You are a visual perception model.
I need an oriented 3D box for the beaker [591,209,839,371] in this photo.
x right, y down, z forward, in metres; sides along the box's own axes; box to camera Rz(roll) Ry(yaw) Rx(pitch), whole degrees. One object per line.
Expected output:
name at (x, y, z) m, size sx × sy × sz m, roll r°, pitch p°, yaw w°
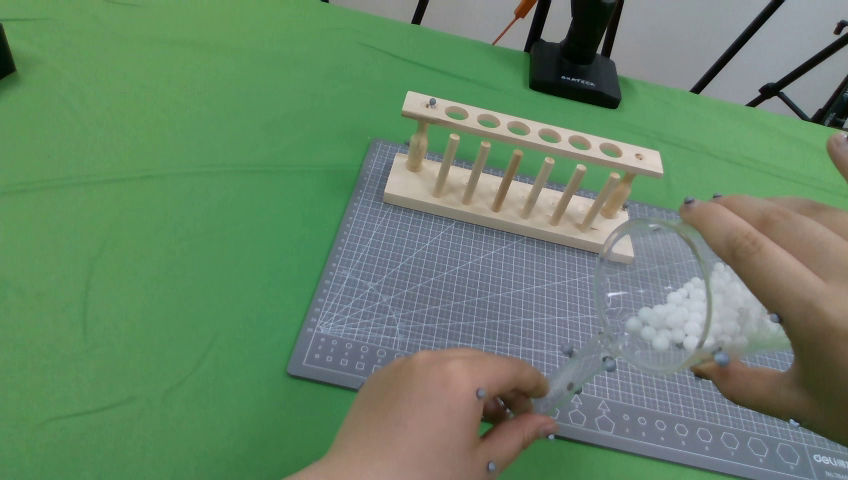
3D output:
beaker at (0.146, 0.025, 0.308) m, size 0.101 × 0.084 × 0.073 m, roll -2°, pitch 49°, yaw -24°

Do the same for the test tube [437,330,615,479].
test tube at (0.053, 0.102, 0.351) m, size 0.017 × 0.150 × 0.017 m, roll 28°, pitch 31°, yaw -18°

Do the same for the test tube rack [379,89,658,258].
test tube rack at (0.087, -0.061, 0.572) m, size 0.242 × 0.086 × 0.066 m, roll 13°, pitch 44°, yaw -2°
